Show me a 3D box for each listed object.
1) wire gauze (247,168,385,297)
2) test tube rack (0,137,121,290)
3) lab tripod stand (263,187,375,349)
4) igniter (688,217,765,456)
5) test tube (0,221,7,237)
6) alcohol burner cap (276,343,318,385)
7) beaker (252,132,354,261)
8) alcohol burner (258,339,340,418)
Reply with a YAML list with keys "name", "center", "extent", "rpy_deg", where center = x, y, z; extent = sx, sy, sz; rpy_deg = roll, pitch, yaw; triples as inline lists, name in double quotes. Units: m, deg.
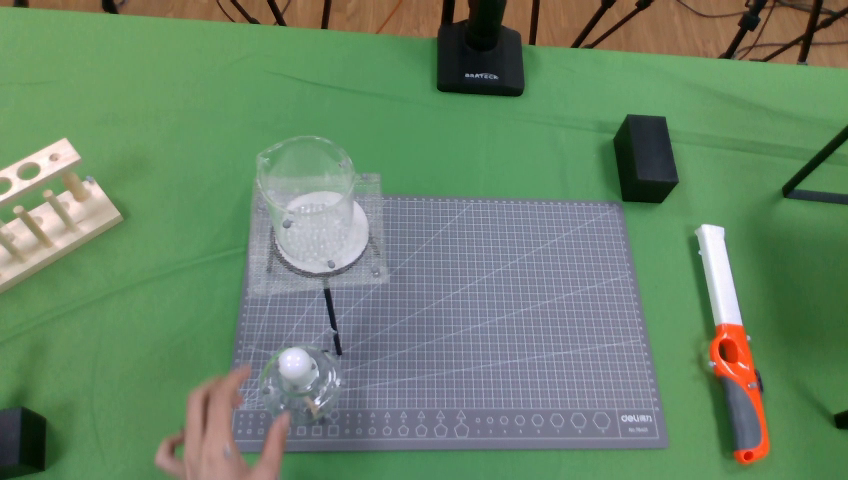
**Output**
- name: "wire gauze"
  center: [-0.101, -0.012, 0.557]
  extent: [0.121, 0.011, 0.124]
  rpy_deg: [-4, 67, -6]
- name: "test tube rack"
  center: [-0.453, 0.000, 0.620]
  extent: [0.242, 0.086, 0.066]
  rpy_deg: [-37, 71, -22]
- name: "lab tripod stand"
  center: [-0.103, 0.022, 0.612]
  extent: [0.148, 0.132, 0.147]
  rpy_deg: [3, 63, -6]
- name: "igniter"
  center: [0.336, 0.098, 0.678]
  extent: [0.057, 0.025, 0.274]
  rpy_deg: [8, 62, -13]
- name: "test tube"
  center: [-0.448, -0.046, 0.589]
  extent: [0.017, 0.151, 0.017]
  rpy_deg: [3, 57, -4]
- name: "alcohol burner cap"
  center: [-0.114, 0.109, 0.536]
  extent: [0.034, 0.048, 0.033]
  rpy_deg: [0, 66, 1]
- name: "beaker"
  center: [-0.101, -0.033, 0.512]
  extent: [0.084, 0.101, 0.073]
  rpy_deg: [24, 63, 7]
- name: "alcohol burner"
  center: [-0.118, 0.125, 0.569]
  extent: [0.078, 0.120, 0.077]
  rpy_deg: [3, 61, -6]
